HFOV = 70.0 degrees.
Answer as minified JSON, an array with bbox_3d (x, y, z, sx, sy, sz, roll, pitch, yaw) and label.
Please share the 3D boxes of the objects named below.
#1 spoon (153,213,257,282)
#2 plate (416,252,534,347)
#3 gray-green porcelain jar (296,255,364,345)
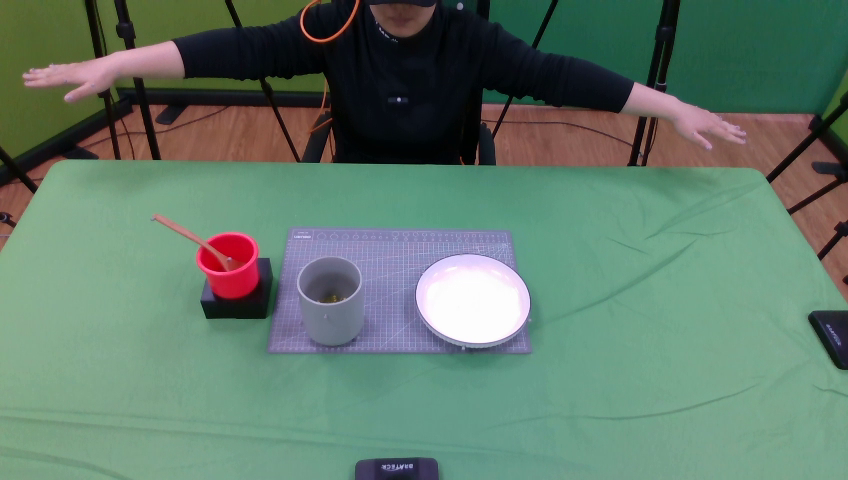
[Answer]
[{"bbox_3d":[-0.360,0.012,1.005,0.195,0.021,0.041,41,36,-26],"label":"spoon"},{"bbox_3d":[0.090,0.109,1.084,0.208,0.039,0.206,2,46,-2],"label":"plate"},{"bbox_3d":[-0.154,0.105,1.008,0.106,0.127,0.105,2,46,-2],"label":"gray-green porcelain jar"}]
